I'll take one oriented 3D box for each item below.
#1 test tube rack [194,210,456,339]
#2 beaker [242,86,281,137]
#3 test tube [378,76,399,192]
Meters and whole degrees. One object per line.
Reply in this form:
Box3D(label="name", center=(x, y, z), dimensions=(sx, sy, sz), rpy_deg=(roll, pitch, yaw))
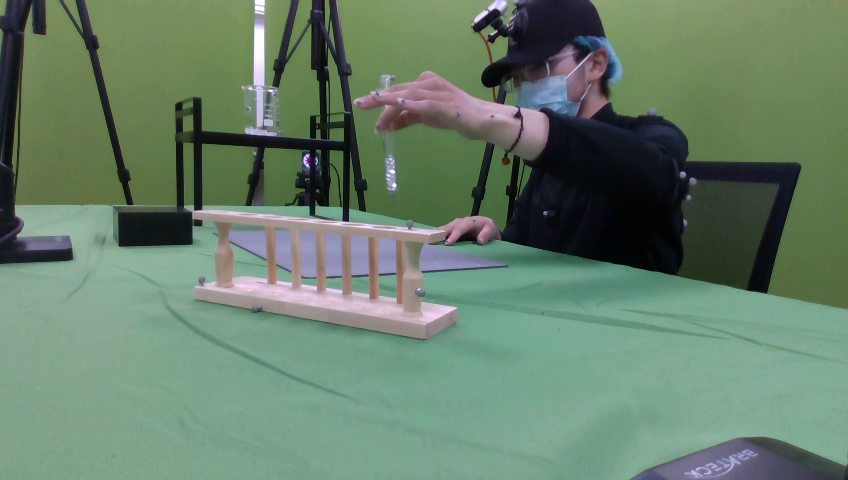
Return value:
Box3D(label="test tube rack", center=(-0.093, 0.023, 0.545), dimensions=(0.241, 0.085, 0.067), rpy_deg=(6, 8, 25))
Box3D(label="beaker", center=(-0.338, -0.265, 1.252), dimensions=(0.073, 0.100, 0.084), rpy_deg=(8, 9, 38))
Box3D(label="test tube", center=(-0.046, -0.137, 0.780), dimensions=(0.017, 0.150, 0.017), rpy_deg=(-5, -2, 0))
